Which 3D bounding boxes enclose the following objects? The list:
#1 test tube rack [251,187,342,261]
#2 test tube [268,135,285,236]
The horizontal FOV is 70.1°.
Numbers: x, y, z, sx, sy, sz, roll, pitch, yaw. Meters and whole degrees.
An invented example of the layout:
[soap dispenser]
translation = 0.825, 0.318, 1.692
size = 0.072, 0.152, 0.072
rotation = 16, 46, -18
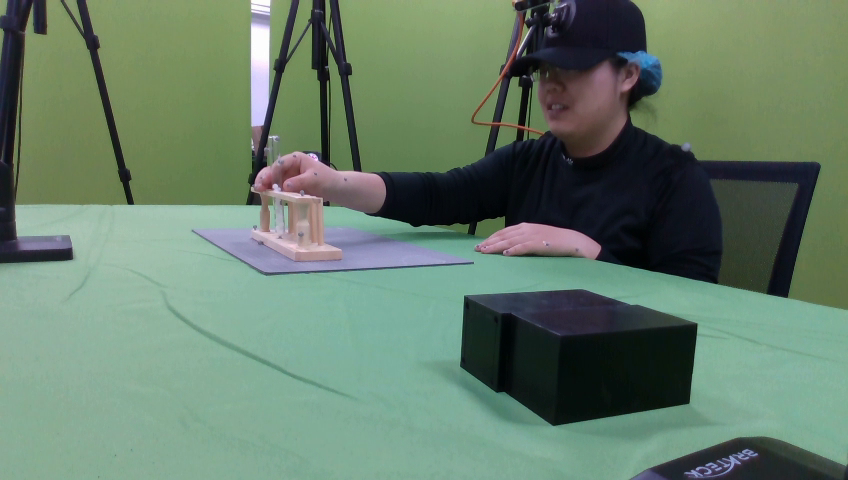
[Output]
[test tube rack]
translation = -0.196, -0.030, 0.902
size = 0.067, 0.085, 0.241
rotation = -2, 8, -29
[test tube]
translation = -0.219, -0.080, 0.899
size = 0.017, 0.150, 0.017
rotation = -2, 8, 1
